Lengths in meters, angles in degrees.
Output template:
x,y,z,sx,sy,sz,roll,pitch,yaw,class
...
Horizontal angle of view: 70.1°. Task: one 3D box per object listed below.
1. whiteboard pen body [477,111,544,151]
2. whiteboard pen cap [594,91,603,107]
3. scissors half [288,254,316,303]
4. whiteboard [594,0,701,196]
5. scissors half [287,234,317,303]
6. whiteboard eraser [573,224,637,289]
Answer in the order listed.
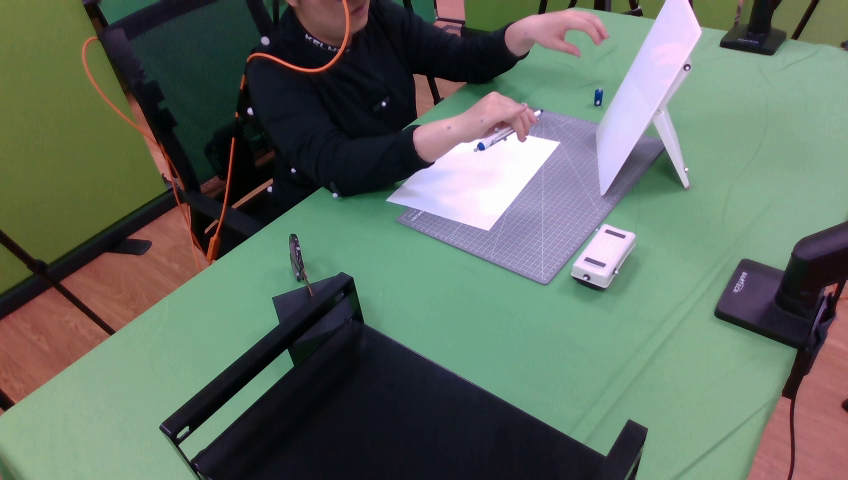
x,y,z,sx,sy,sz,roll,pitch,yaw,class
0.144,-0.180,0.987,0.141,0.017,0.017,-31,45,-21,whiteboard pen body
0.364,-0.294,1.262,0.018,0.033,0.018,-6,41,5,whiteboard pen cap
-0.178,0.058,0.894,0.013,0.040,0.174,-16,21,-17,scissors half
0.420,-0.227,1.010,0.144,0.305,0.216,18,42,-2,whiteboard
-0.179,0.040,0.885,0.013,0.040,0.173,-11,36,-20,scissors half
0.267,0.025,0.891,0.055,0.042,0.113,19,47,31,whiteboard eraser
